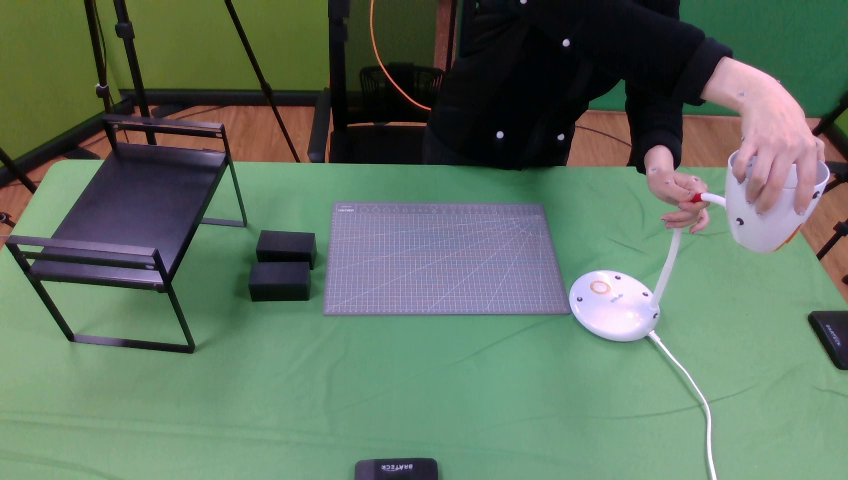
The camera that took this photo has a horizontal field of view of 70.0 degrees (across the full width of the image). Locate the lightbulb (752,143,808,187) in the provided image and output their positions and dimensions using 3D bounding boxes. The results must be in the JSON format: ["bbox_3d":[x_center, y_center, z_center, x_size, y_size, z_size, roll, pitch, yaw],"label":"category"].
[{"bbox_3d":[0.436,-0.068,0.752,0.059,0.108,0.059,-2,30,2],"label":"lightbulb"}]

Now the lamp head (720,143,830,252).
[{"bbox_3d":[0.431,-0.048,0.767,0.112,0.123,0.111,-2,40,2],"label":"lamp head"}]

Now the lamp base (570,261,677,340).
[{"bbox_3d":[0.360,0.069,1.045,0.178,0.181,0.160,38,55,26],"label":"lamp base"}]
